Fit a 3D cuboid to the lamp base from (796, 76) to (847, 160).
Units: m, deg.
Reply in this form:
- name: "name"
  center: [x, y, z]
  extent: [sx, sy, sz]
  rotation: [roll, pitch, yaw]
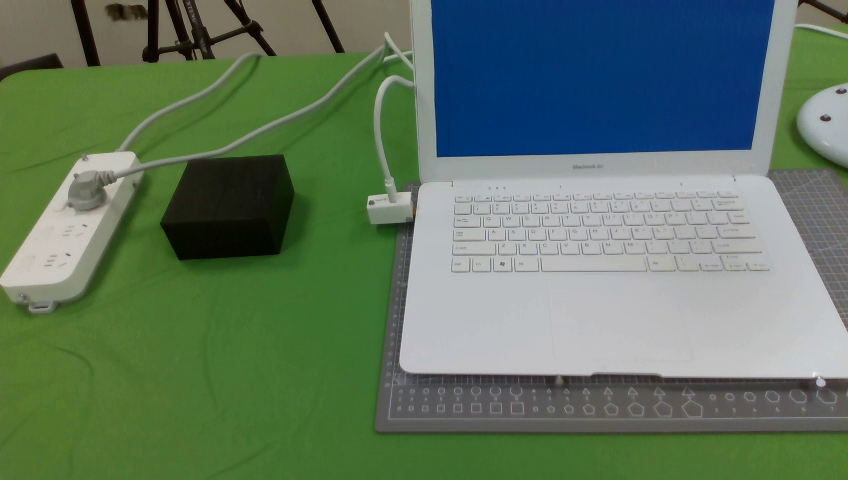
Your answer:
- name: "lamp base"
  center: [0.492, -0.189, 0.608]
  extent: [0.159, 0.182, 0.179]
  rotation: [25, 50, 28]

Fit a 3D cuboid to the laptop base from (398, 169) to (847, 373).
- name: "laptop base"
  center: [0.161, 0.021, 0.547]
  extent: [0.354, 0.023, 0.233]
  rotation: [-1, 48, 5]

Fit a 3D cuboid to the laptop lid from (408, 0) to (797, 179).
- name: "laptop lid"
  center: [0.162, -0.170, 0.581]
  extent: [0.356, 0.243, 0.013]
  rotation: [-2, 24, 6]

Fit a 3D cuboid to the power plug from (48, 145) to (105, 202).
- name: "power plug"
  center: [-0.353, -0.073, 0.614]
  extent: [0.053, 0.073, 0.035]
  rotation: [10, 28, -16]

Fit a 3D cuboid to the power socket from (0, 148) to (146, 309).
- name: "power socket"
  center: [-0.360, -0.024, 0.636]
  extent: [0.072, 0.033, 0.224]
  rotation: [-2, 44, 2]

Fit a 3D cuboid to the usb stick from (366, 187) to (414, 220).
- name: "usb stick"
  center: [-0.027, -0.037, 0.608]
  extent: [0.059, 0.027, 0.021]
  rotation: [-3, 44, 4]
